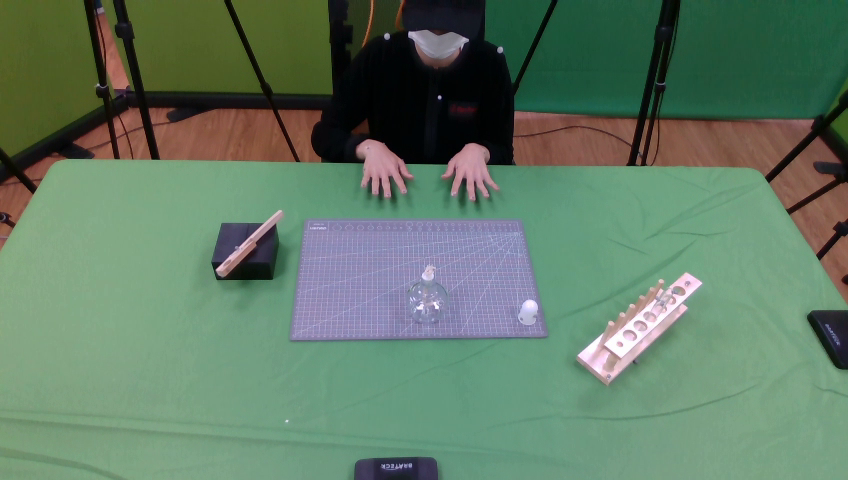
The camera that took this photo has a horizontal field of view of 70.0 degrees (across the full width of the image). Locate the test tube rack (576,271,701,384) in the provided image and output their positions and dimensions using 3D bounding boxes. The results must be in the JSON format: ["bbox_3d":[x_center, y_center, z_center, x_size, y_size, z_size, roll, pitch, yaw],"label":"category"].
[{"bbox_3d":[0.373,0.138,1.047,0.242,0.085,0.066,-31,56,-29],"label":"test tube rack"}]

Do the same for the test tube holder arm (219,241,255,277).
[{"bbox_3d":[-0.331,0.032,1.076,0.010,0.015,0.087,19,47,17],"label":"test tube holder arm"}]

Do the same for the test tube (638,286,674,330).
[{"bbox_3d":[0.375,0.123,0.994,0.017,0.151,0.017,2,52,-2],"label":"test tube"}]

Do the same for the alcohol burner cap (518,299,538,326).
[{"bbox_3d":[0.186,0.126,1.072,0.034,0.048,0.033,2,45,-1],"label":"alcohol burner cap"}]

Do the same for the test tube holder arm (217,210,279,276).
[{"bbox_3d":[-0.318,0.002,1.108,0.013,0.015,0.178,17,46,15],"label":"test tube holder arm"}]

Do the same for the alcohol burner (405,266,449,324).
[{"bbox_3d":[0.005,0.089,1.043,0.078,0.120,0.077,1,45,-1],"label":"alcohol burner"}]
